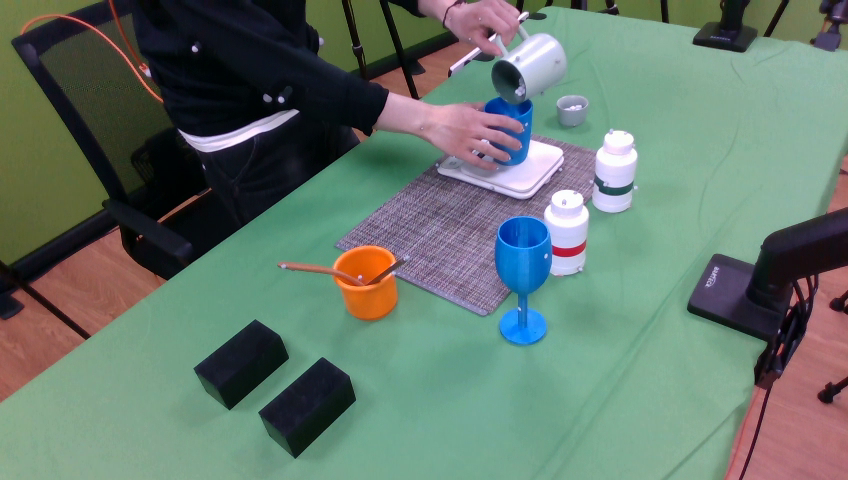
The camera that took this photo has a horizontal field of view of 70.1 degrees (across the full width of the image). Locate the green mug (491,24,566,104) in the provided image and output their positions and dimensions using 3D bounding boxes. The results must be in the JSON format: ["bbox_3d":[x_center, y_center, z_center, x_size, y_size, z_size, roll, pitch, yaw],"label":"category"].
[{"bbox_3d":[0.167,-0.301,1.017,0.105,0.125,0.092,-36,10,-24],"label":"green mug"}]

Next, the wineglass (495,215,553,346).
[{"bbox_3d":[0.127,0.054,0.770,0.074,0.173,0.073,-4,40,4],"label":"wineglass"}]

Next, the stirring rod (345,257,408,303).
[{"bbox_3d":[-0.067,0.056,0.814,0.014,0.175,0.006,-22,81,-37],"label":"stirring rod"}]

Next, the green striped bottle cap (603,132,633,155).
[{"bbox_3d":[0.302,-0.149,0.939,0.044,0.020,0.044,-3,40,3],"label":"green striped bottle cap"}]

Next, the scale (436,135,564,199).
[{"bbox_3d":[0.137,-0.142,1.101,0.199,0.032,0.149,22,48,30],"label":"scale"}]

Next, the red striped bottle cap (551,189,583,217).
[{"bbox_3d":[0.200,-0.052,0.843,0.044,0.018,0.044,-2,42,2],"label":"red striped bottle cap"}]

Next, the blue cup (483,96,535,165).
[{"bbox_3d":[0.149,-0.187,1.052,0.092,0.101,0.092,-6,40,6],"label":"blue cup"}]

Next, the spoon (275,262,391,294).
[{"bbox_3d":[-0.120,0.050,0.830,0.041,0.195,0.021,31,97,45],"label":"spoon"}]

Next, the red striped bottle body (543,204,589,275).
[{"bbox_3d":[0.206,-0.011,0.877,0.063,0.120,0.062,-4,41,4],"label":"red striped bottle body"}]

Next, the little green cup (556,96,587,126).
[{"bbox_3d":[0.295,-0.258,1.214,0.061,0.039,0.061,-5,41,5],"label":"little green cup"}]

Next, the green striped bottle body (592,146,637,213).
[{"bbox_3d":[0.307,-0.108,0.976,0.063,0.120,0.063,-4,40,4],"label":"green striped bottle body"}]
